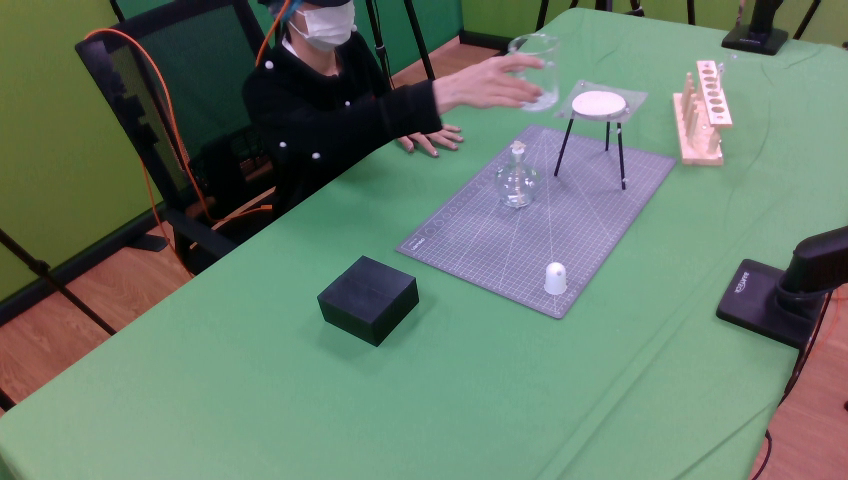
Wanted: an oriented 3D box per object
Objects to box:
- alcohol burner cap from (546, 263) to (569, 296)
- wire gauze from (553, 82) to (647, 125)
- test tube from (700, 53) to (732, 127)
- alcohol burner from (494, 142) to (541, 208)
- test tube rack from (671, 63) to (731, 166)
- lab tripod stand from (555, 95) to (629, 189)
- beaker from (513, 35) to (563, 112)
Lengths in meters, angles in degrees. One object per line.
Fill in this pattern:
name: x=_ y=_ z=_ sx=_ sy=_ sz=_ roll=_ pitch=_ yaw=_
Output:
alcohol burner cap: x=0.191 y=0.053 z=0.862 sx=0.034 sy=0.048 sz=0.033 roll=-5 pitch=40 yaw=4
wire gauze: x=0.293 y=-0.226 z=1.002 sx=0.120 sy=0.011 sz=0.125 roll=17 pitch=45 yaw=27
test tube: x=0.521 y=-0.265 z=1.081 sx=0.017 sy=0.151 sz=0.017 roll=-3 pitch=47 yaw=3
alcohol burner: x=0.157 y=-0.113 z=1.011 sx=0.078 sy=0.119 sz=0.077 roll=-3 pitch=41 yaw=3
test tube rack: x=0.513 y=-0.241 z=1.132 sx=0.066 sy=0.085 sz=0.242 roll=4 pitch=41 yaw=14
lab tripod stand: x=0.300 y=-0.174 z=1.045 sx=0.148 sy=0.132 sz=0.147 roll=-5 pitch=38 yaw=5
beaker: x=0.182 y=-0.261 z=0.949 sx=0.073 sy=0.101 sz=0.084 roll=23 pitch=49 yaw=33
